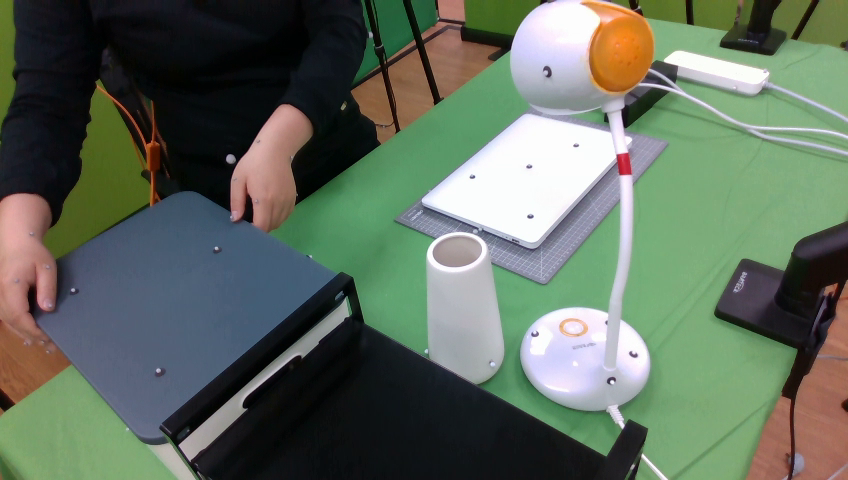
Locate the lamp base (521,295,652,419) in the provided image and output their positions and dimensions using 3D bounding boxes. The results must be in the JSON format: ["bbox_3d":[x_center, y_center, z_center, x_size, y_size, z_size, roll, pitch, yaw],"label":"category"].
[{"bbox_3d":[0.201,0.095,0.710,0.161,0.181,0.178,-16,43,-10],"label":"lamp base"}]

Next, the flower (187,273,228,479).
[{"bbox_3d":[-0.283,0.161,0.819,0.044,0.038,0.359,10,34,-22],"label":"flower"}]

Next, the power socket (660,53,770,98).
[{"bbox_3d":[0.616,-0.355,1.292,0.225,0.033,0.072,29,53,35],"label":"power socket"}]

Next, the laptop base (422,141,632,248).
[{"bbox_3d":[0.192,-0.117,1.087,0.233,0.023,0.355,21,47,34],"label":"laptop base"}]

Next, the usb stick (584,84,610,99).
[{"bbox_3d":[0.354,-0.306,1.252,0.027,0.021,0.058,-3,1,-39],"label":"usb stick"}]

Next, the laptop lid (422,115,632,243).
[{"bbox_3d":[0.189,-0.126,1.081,0.239,0.013,0.358,23,48,35],"label":"laptop lid"}]

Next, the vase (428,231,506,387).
[{"bbox_3d":[0.050,0.087,0.728,0.098,0.201,0.097,-3,40,3],"label":"vase"}]

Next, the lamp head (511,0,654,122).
[{"bbox_3d":[0.155,-0.168,0.563,0.113,0.113,0.122,-18,23,-12],"label":"lamp head"}]

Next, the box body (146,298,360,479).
[{"bbox_3d":[-0.288,0.118,0.772,0.361,0.161,0.255,26,50,33],"label":"box body"}]

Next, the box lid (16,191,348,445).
[{"bbox_3d":[-0.295,0.062,0.723,0.368,0.015,0.264,26,51,34],"label":"box lid"}]

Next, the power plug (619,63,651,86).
[{"bbox_3d":[0.435,-0.341,1.265,0.035,0.053,0.072,5,31,-14],"label":"power plug"}]
